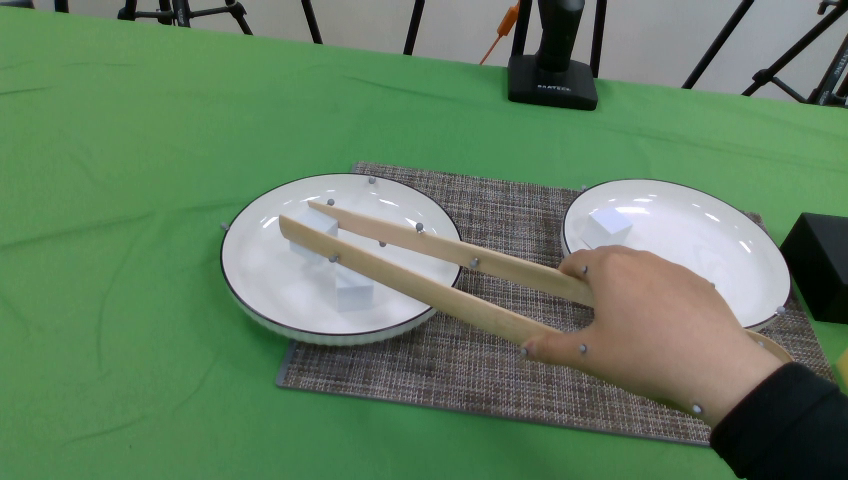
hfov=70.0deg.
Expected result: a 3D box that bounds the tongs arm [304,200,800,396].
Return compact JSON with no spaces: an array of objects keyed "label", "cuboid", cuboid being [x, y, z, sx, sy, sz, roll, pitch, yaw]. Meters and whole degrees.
[{"label":"tongs arm","cuboid":[0.051,0.032,0.434,0.382,0.027,0.050,16,40,26]}]

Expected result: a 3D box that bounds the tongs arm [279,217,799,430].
[{"label":"tongs arm","cuboid":[0.038,0.044,0.420,0.384,0.028,0.028,19,39,30]}]

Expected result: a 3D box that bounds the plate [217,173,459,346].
[{"label":"plate","cuboid":[-0.072,0.016,0.538,0.209,0.038,0.207,4,42,-3]}]

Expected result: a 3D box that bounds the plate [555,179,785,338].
[{"label":"plate","cuboid":[0.225,0.019,0.574,0.208,0.039,0.205,4,42,-3]}]

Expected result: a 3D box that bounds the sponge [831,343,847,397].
[{"label":"sponge","cuboid":[0.407,0.159,0.434,0.118,0.061,0.205,5,43,-2]}]
